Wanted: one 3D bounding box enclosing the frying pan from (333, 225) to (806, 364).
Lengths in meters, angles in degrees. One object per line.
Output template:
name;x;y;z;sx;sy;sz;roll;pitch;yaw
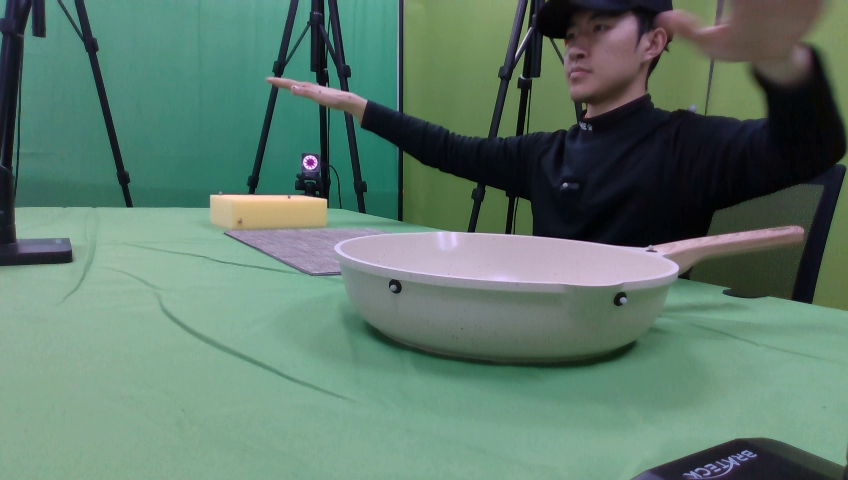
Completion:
frying pan;0.165;0.024;0.562;0.490;0.102;0.305;-8;11;-16

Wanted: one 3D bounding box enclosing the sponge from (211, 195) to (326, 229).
sponge;-0.320;-0.060;1.254;0.208;0.061;0.117;-3;9;-39
